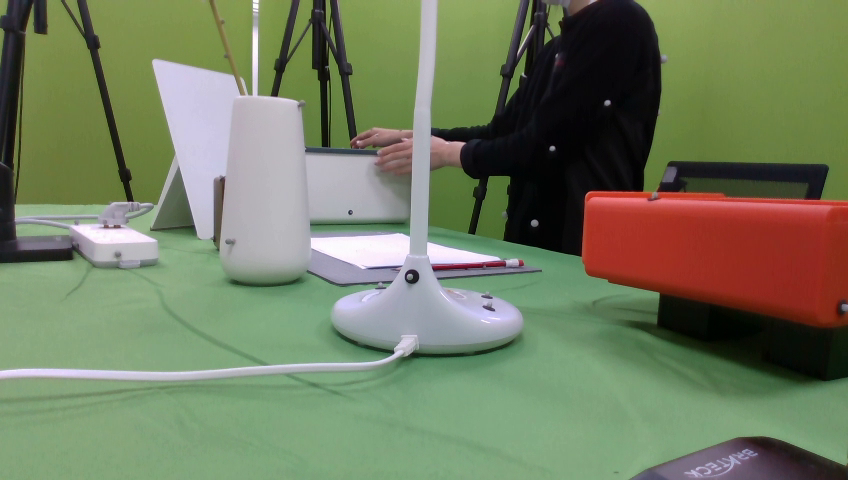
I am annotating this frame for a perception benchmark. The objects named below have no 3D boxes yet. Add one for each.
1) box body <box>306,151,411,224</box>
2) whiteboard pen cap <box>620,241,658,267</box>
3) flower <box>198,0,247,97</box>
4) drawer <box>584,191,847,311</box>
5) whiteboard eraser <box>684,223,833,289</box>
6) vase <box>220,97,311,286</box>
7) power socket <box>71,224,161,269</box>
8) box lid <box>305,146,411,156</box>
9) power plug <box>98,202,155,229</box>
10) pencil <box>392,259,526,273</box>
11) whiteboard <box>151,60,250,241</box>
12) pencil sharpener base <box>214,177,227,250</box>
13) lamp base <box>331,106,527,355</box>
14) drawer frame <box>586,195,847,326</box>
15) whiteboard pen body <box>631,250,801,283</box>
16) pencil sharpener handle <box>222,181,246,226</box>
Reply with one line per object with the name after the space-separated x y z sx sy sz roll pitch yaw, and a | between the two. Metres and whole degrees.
-0.229 -0.126 1.370 0.366 0.160 0.253 -2 8 -33 | box body
0.199 0.013 0.557 0.018 0.018 0.033 -4 18 -40 | whiteboard pen cap
-0.187 -0.133 0.648 0.038 0.362 0.044 -1 22 43 | flower
0.280 0.001 0.513 0.195 0.073 0.211 0 8 -28 | drawer
0.305 0.013 0.558 0.056 0.042 0.112 -9 19 -31 | whiteboard eraser
-0.172 -0.052 0.662 0.098 0.200 0.098 3 8 0 | vase
-0.408 0.004 0.793 0.072 0.032 0.225 -2 8 -38 | power socket
-0.229 -0.200 1.360 0.373 0.015 0.262 -3 9 -33 | box lid
-0.416 -0.027 0.848 0.073 0.052 0.035 0 8 -28 | power plug
0.049 0.035 0.782 0.195 0.012 0.012 -2 9 -25 | pencil
-0.408 -0.139 1.093 0.143 0.305 0.218 -15 0 25 | whiteboard
-0.265 -0.036 0.870 0.061 0.107 0.076 -2 8 -29 | pencil sharpener base
0.006 -0.012 0.478 0.161 0.180 0.179 2 10 2 | lamp base
0.284 0.004 0.508 0.203 0.082 0.212 -1 6 -28 | drawer frame
0.240 0.020 0.512 0.017 0.017 0.140 -4 8 -41 | whiteboard pen body
-0.289 -0.055 0.912 0.036 0.067 0.030 -3 9 -29 | pencil sharpener handle
